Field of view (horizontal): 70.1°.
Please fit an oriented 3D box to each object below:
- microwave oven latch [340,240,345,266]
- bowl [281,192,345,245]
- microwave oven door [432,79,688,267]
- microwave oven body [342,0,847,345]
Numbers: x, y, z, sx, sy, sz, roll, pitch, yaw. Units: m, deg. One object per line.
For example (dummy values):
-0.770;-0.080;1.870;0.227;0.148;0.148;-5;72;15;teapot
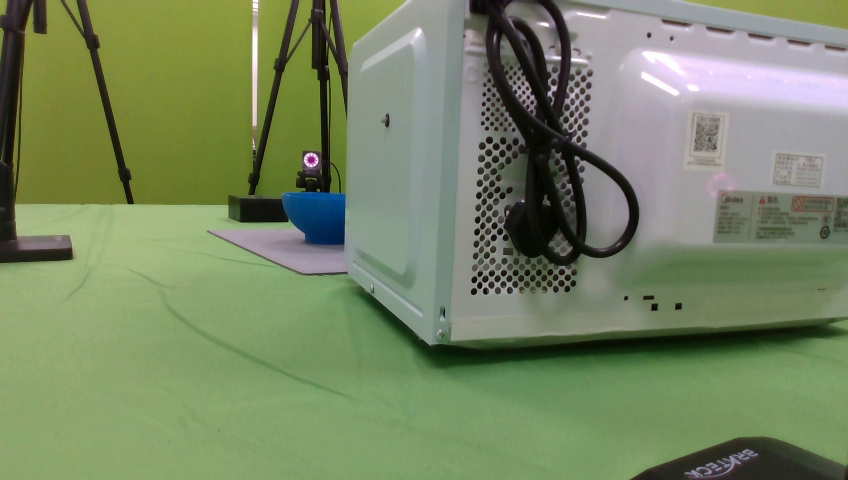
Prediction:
-0.052;0.016;0.662;0.079;0.029;0.030;1;7;-19;microwave oven latch
-0.158;-0.035;0.991;0.151;0.077;0.151;3;7;0;bowl
0.177;-0.102;0.866;0.354;0.243;0.039;6;9;30;microwave oven door
0.169;-0.060;0.573;0.444;0.260;0.324;1;7;-20;microwave oven body
